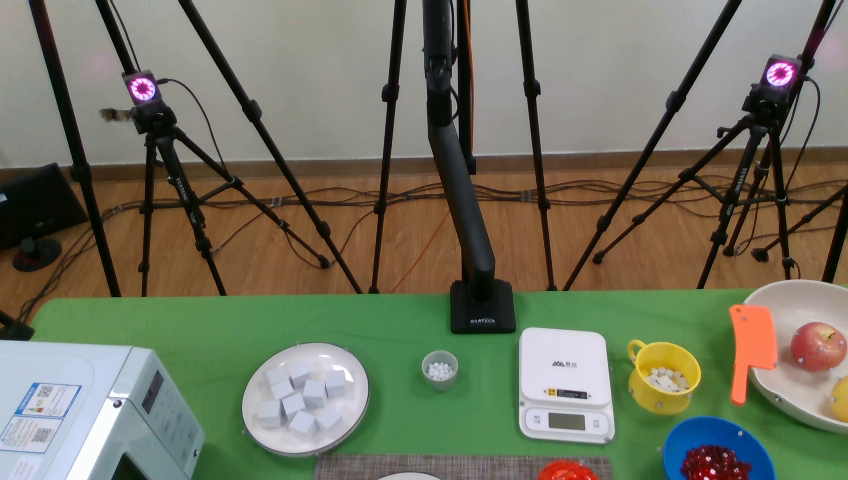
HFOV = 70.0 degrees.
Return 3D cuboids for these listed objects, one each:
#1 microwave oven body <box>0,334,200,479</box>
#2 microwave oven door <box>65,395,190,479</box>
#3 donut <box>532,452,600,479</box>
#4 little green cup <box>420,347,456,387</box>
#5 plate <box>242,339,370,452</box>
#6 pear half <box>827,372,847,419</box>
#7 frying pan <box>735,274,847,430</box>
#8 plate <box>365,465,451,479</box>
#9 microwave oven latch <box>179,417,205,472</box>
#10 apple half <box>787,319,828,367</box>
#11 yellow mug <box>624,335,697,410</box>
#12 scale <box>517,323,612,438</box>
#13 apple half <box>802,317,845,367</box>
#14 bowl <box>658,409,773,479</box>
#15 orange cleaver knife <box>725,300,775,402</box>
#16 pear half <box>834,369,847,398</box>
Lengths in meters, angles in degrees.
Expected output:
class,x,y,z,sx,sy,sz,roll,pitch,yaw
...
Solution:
class,x,y,z,sx,sy,sz,roll,pitch,yaw
microwave oven body,-0.530,0.367,0.754,0.326,0.262,0.437,2,46,5
microwave oven door,-0.388,0.397,0.709,0.039,0.246,0.352,1,45,5
donut,0.205,0.356,0.875,0.099,0.049,0.098,-3,46,3
little green cup,0.025,0.218,1.031,0.061,0.039,0.061,-2,45,2
plate,-0.192,0.258,1.005,0.207,0.039,0.205,-1,45,2
pear half,0.661,0.235,0.920,0.075,0.111,0.056,27,53,31
frying pan,0.699,0.240,0.924,0.307,0.104,0.482,-20,40,-15
plate,-0.025,0.417,0.833,0.209,0.038,0.207,-2,46,2
microwave oven latch,-0.363,0.313,0.933,0.030,0.030,0.078,3,46,6
apple half,0.626,0.175,1.005,0.033,0.082,0.080,-5,45,-6
yellow mug,0.379,0.208,1.000,0.100,0.064,0.129,-25,48,-19
scale,0.231,0.230,1.012,0.148,0.032,0.199,3,46,7
apple half,0.664,0.171,1.009,0.053,0.075,0.080,-5,42,-6
bowl,0.407,0.330,0.870,0.151,0.077,0.150,-2,46,2
orange cleaver knife,0.523,0.173,0.974,0.077,0.012,0.210,13,48,17
pear half,0.686,0.222,0.945,0.070,0.089,0.031,26,54,29
